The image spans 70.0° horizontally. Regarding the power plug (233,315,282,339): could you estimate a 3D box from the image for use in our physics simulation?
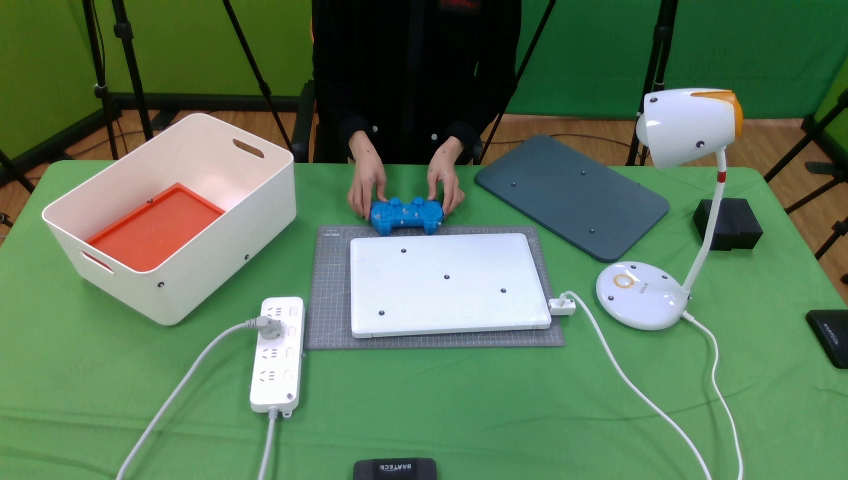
[{"bbox_3d":[-0.271,0.144,0.999,0.072,0.053,0.035,5,47,3],"label":"power plug"}]

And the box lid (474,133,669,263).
[{"bbox_3d":[0.323,-0.105,1.334,0.369,0.015,0.263,36,54,27],"label":"box lid"}]

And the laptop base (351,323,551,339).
[{"bbox_3d":[0.040,0.080,1.125,0.355,0.023,0.234,-2,43,-6],"label":"laptop base"}]

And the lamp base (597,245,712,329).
[{"bbox_3d":[0.418,0.051,1.072,0.179,0.181,0.160,22,49,13],"label":"lamp base"}]

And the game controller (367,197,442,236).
[{"bbox_3d":[-0.037,-0.057,1.231,0.155,0.052,0.096,-2,49,-5],"label":"game controller"}]

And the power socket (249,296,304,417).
[{"bbox_3d":[-0.239,0.182,0.996,0.072,0.033,0.225,-2,47,-5],"label":"power socket"}]

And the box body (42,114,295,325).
[{"bbox_3d":[-0.437,-0.046,1.110,0.253,0.161,0.363,24,49,19],"label":"box body"}]

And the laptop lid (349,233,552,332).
[{"bbox_3d":[0.040,0.071,1.118,0.357,0.013,0.240,-1,44,-5],"label":"laptop lid"}]

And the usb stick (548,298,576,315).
[{"bbox_3d":[0.240,0.120,1.086,0.059,0.027,0.021,-2,51,-2],"label":"usb stick"}]

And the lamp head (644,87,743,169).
[{"bbox_3d":[0.380,-0.161,0.851,0.122,0.113,0.112,-4,42,25],"label":"lamp head"}]
